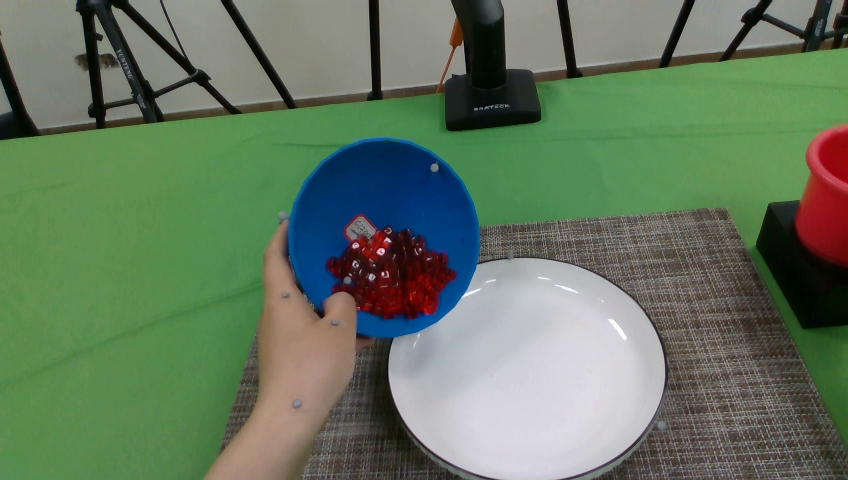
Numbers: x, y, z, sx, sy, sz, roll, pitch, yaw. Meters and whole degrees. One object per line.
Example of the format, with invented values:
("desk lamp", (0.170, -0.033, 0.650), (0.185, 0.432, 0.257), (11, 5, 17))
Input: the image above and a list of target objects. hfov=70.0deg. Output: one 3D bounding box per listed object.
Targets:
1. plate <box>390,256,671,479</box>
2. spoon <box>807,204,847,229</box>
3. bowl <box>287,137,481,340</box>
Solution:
("plate", (0.079, 0.097, 0.469), (0.207, 0.039, 0.205), (-5, 42, 5))
("spoon", (0.328, -0.030, 0.399), (0.041, 0.194, 0.021), (-21, 82, -6))
("bowl", (-0.039, 0.000, 0.482), (0.151, 0.152, 0.076), (-29, 9, -20))
